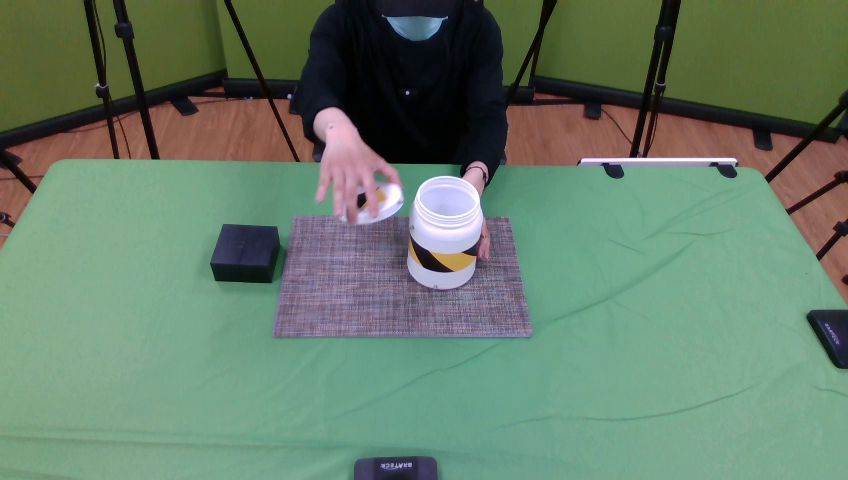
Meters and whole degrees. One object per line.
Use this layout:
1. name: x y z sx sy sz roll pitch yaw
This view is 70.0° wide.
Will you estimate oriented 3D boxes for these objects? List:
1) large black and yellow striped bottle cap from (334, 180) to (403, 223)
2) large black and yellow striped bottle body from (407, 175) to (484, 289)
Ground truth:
1. large black and yellow striped bottle cap: -0.093 -0.066 1.010 0.115 0.019 0.114 -7 34 5
2. large black and yellow striped bottle body: 0.037 -0.014 1.093 0.131 0.185 0.130 2 46 -2
